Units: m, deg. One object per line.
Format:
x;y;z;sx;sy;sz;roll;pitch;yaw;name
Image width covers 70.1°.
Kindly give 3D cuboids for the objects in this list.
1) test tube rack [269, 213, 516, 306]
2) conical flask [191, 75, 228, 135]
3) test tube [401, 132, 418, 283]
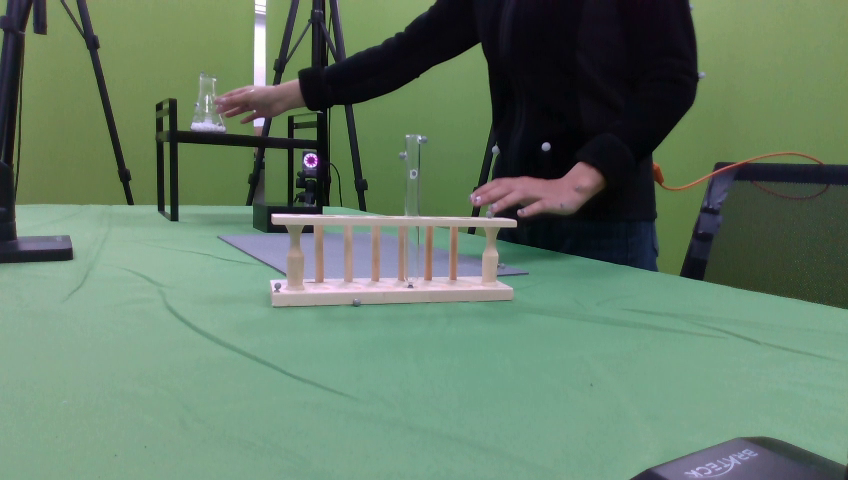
-0.032;0.015;0.617;0.243;0.085;0.066;0;8;-17;test tube rack
-0.457;-0.286;1.286;0.075;0.122;0.075;2;7;0;conical flask
-0.014;-0.031;0.596;0.017;0.150;0.017;1;11;0;test tube
